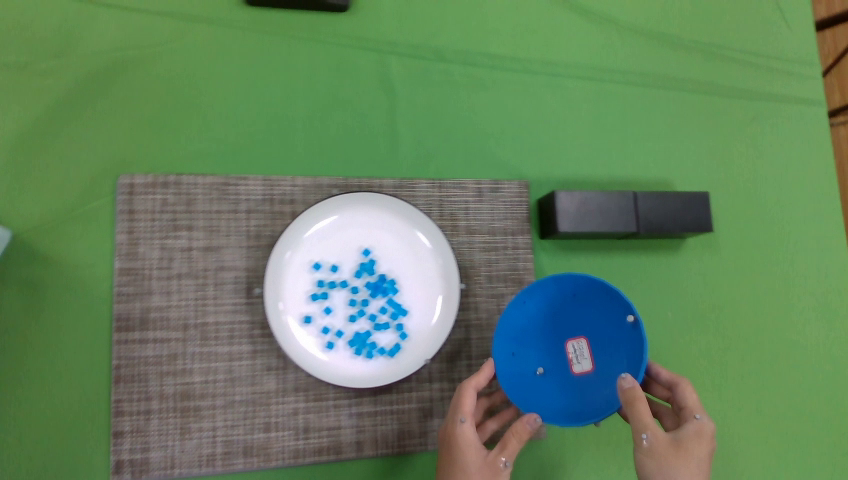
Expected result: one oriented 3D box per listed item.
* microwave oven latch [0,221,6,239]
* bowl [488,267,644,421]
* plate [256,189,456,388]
[{"bbox_3d":[-0.415,0.013,0.549,0.030,0.029,0.079,28,77,-9],"label":"microwave oven latch"},{"bbox_3d":[0.148,0.110,0.611,0.151,0.077,0.150,-11,64,25],"label":"bowl"},{"bbox_3d":[-0.070,0.050,0.645,0.208,0.039,0.207,2,81,-14],"label":"plate"}]
